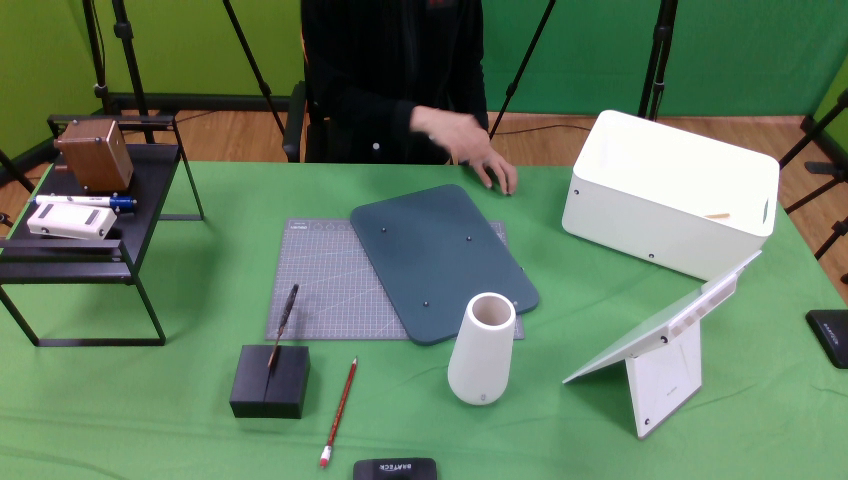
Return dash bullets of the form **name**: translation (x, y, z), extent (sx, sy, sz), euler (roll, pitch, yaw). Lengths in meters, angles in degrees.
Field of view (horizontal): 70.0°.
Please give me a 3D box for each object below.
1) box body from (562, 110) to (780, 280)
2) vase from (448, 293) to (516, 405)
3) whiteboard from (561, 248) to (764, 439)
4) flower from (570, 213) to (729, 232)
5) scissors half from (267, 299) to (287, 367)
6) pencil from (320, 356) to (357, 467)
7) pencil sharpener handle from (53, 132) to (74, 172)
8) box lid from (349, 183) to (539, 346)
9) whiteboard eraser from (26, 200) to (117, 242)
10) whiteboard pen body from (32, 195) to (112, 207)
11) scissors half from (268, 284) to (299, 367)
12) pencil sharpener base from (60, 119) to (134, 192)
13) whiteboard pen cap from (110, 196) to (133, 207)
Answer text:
- **box body**: translation (0.486, -0.088, 1.222), extent (0.363, 0.161, 0.253), euler (20, 48, 15)
- **vase**: translation (0.091, 0.169, 0.921), extent (0.098, 0.201, 0.097), euler (3, 47, -3)
- **whiteboard**: translation (0.386, 0.176, 0.905), extent (0.217, 0.306, 0.143), euler (-26, 72, -27)
- **flower**: translation (0.479, -0.041, 1.268), extent (0.362, 0.038, 0.044), euler (-3, 18, -12)
- **scissors half**: translation (-0.239, 0.150, 0.997), extent (0.013, 0.040, 0.174), euler (24, 24, -13)
- **pencil**: translation (-0.130, 0.261, 0.946), extent (0.012, 0.012, 0.193), euler (10, 45, 5)
- **pencil sharpener handle**: translation (-0.578, -0.138, 0.961), extent (0.031, 0.068, 0.036), euler (-4, 34, -7)
- **box lid**: translation (0.030, 0.031, 1.176), extent (0.263, 0.015, 0.369), euler (-16, 49, -18)
- **whiteboard eraser**: translation (-0.532, -0.026, 0.919), extent (0.113, 0.042, 0.055), euler (7, 45, 3)
- **whiteboard pen body**: translation (-0.543, -0.061, 0.961), extent (0.141, 0.017, 0.017), euler (1, 46, -10)
- **scissors half**: translation (-0.230, 0.135, 0.986), extent (0.013, 0.040, 0.174), euler (19, 43, -11)
- **pencil sharpener base**: translation (-0.528, -0.135, 0.979), extent (0.077, 0.107, 0.061), euler (-4, 47, -7)
- **whiteboard pen cap**: translation (-0.486, -0.061, 0.972), extent (0.033, 0.018, 0.018), euler (0, 47, -9)
